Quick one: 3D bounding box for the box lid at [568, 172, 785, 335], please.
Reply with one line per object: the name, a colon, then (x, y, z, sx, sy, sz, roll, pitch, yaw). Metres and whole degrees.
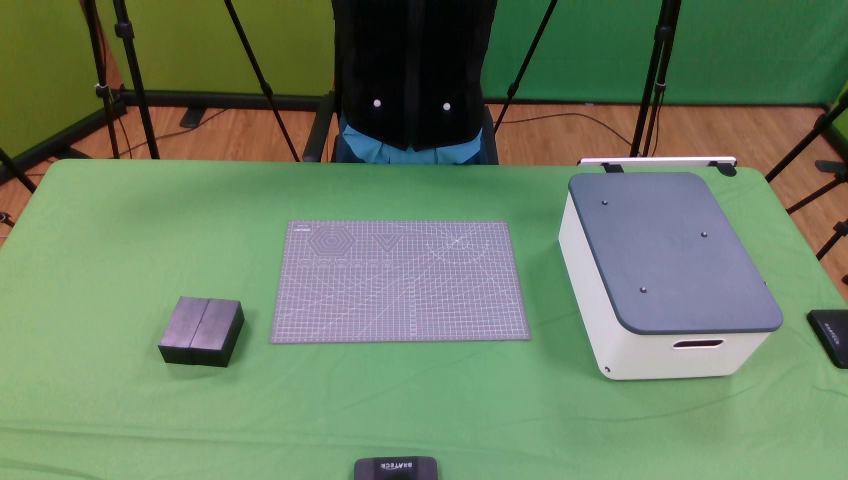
box lid: (0.407, 0.007, 1.019, 0.263, 0.015, 0.369, -1, 46, -5)

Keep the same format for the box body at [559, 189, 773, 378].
box body: (0.405, 0.057, 1.074, 0.254, 0.161, 0.361, -2, 46, -5)
